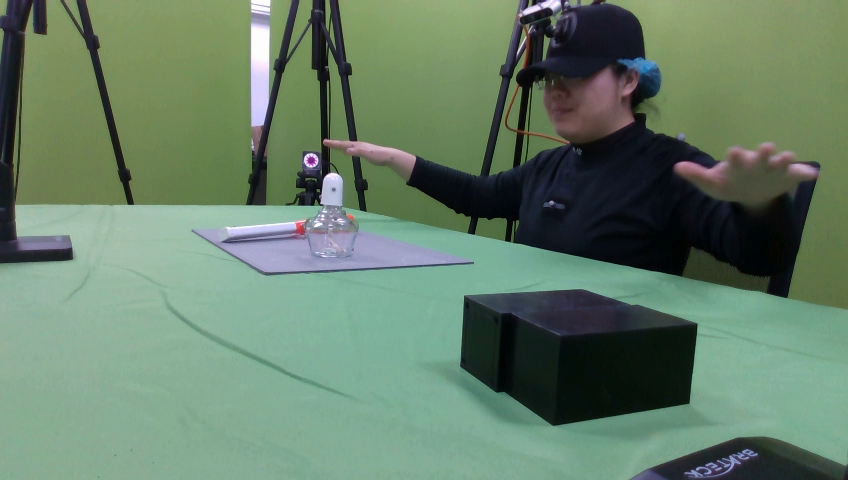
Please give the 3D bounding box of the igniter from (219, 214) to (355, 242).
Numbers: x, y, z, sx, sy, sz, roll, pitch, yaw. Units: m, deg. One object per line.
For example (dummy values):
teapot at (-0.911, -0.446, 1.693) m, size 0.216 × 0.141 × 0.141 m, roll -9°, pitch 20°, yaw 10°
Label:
igniter at (-0.219, -0.021, 1.033) m, size 0.057 × 0.025 × 0.278 m, roll -20°, pitch -7°, yaw 39°

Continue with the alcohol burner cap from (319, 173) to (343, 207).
alcohol burner cap at (-0.129, -0.070, 0.845) m, size 0.034 × 0.048 × 0.034 m, roll 4°, pitch 4°, yaw 0°

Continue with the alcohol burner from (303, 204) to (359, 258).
alcohol burner at (-0.130, -0.035, 0.850) m, size 0.078 × 0.119 × 0.078 m, roll 2°, pitch 5°, yaw 0°
